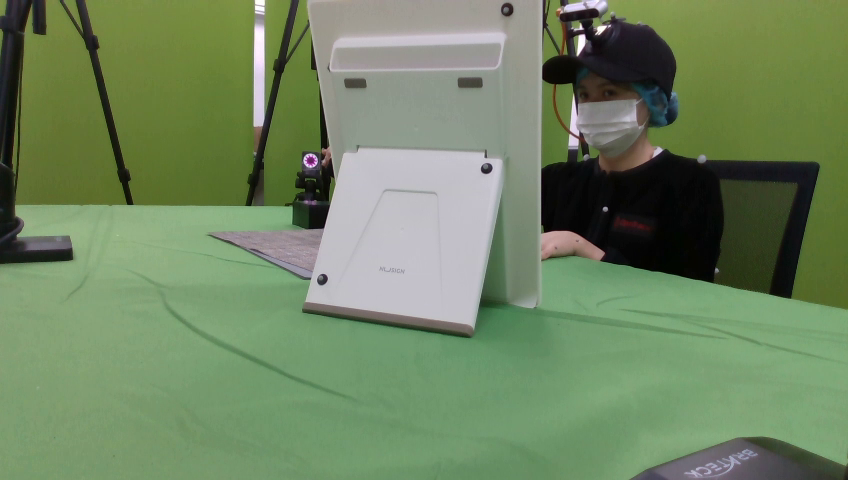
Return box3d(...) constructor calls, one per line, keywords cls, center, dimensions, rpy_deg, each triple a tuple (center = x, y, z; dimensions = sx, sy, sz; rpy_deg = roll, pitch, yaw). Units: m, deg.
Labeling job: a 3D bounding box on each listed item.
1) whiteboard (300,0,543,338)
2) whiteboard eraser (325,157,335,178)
box3d(cls="whiteboard", center=(-0.020, -0.050, 0.523), dimensions=(0.216, 0.305, 0.144), rpy_deg=(6, 27, 22))
box3d(cls="whiteboard eraser", center=(-0.148, -0.135, 1.099), dimensions=(0.056, 0.042, 0.112), rpy_deg=(22, -9, -12))
